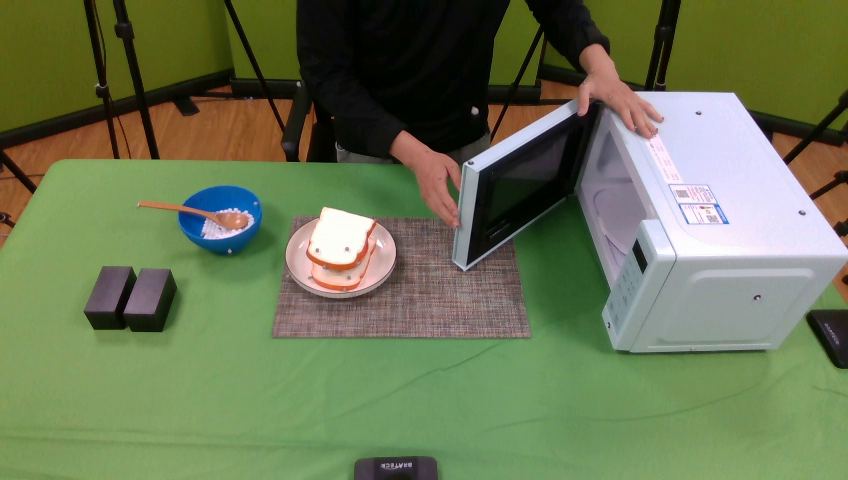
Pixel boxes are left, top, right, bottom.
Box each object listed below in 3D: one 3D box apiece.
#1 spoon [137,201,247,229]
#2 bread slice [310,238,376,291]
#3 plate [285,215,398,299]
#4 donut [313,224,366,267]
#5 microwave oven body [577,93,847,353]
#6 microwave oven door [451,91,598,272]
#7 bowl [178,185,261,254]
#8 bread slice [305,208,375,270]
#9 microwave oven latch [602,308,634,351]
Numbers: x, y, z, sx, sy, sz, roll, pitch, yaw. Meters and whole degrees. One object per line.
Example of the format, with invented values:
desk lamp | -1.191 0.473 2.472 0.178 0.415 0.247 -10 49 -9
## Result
spoon | -0.431 -0.052 1.135 0.194 0.022 0.041 14 45 -22
bread slice | -0.154 0.040 1.136 0.107 0.018 0.133 7 45 3
plate | -0.154 0.034 1.141 0.208 0.039 0.206 2 46 -2
donut | -0.155 0.010 1.119 0.099 0.048 0.098 -4 39 3
microwave oven body | 0.475 -0.041 1.109 0.326 0.261 0.438 -1 45 -4
microwave oven door | 0.196 -0.116 1.153 0.356 0.245 0.039 -33 56 -31
bowl | -0.383 -0.027 1.158 0.151 0.077 0.150 2 46 -2
bread slice | -0.154 -0.001 1.095 0.105 0.019 0.131 15 48 1
microwave oven latch | 0.332 0.153 1.044 0.030 0.029 0.078 -1 45 -4
